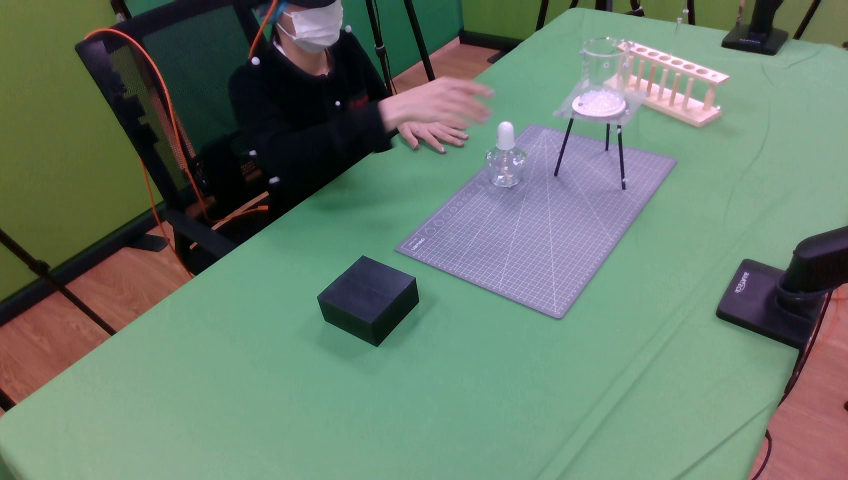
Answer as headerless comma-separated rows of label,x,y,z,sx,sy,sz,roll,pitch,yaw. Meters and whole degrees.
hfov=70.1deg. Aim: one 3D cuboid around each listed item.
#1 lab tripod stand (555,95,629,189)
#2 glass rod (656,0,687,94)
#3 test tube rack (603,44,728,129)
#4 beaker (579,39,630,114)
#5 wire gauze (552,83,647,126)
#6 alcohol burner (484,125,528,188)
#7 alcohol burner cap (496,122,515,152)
lab tripod stand,0.300,-0.174,1.045,0.148,0.132,0.147,-5,38,5
glass rod,0.491,-0.381,1.199,0.008,0.200,0.008,1,41,0
test tube rack,0.480,-0.316,1.227,0.067,0.085,0.240,-28,44,-22
beaker,0.289,-0.263,0.975,0.073,0.101,0.084,17,45,27
wire gauze,0.293,-0.224,1.004,0.120,0.011,0.125,19,43,26
alcohol burner,0.144,-0.152,1.059,0.078,0.119,0.077,-3,41,3
alcohol burner cap,0.139,-0.180,1.037,0.034,0.048,0.033,-4,44,4
